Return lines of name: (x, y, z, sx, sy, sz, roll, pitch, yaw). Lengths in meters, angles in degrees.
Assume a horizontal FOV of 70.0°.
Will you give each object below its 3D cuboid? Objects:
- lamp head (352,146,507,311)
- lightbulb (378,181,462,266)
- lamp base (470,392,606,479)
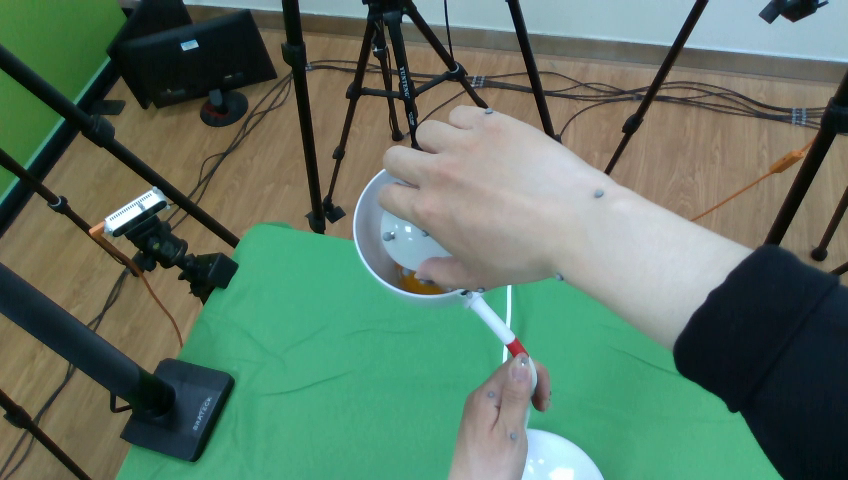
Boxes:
lamp head: (0.010, 0.004, 0.479, 0.112, 0.124, 0.111, -2, 67, 6)
lightbulb: (-0.001, -0.005, 0.450, 0.059, 0.108, 0.059, -1, 75, 5)
lamp base: (0.118, 0.245, 0.645, 0.161, 0.182, 0.177, -24, 55, -8)
